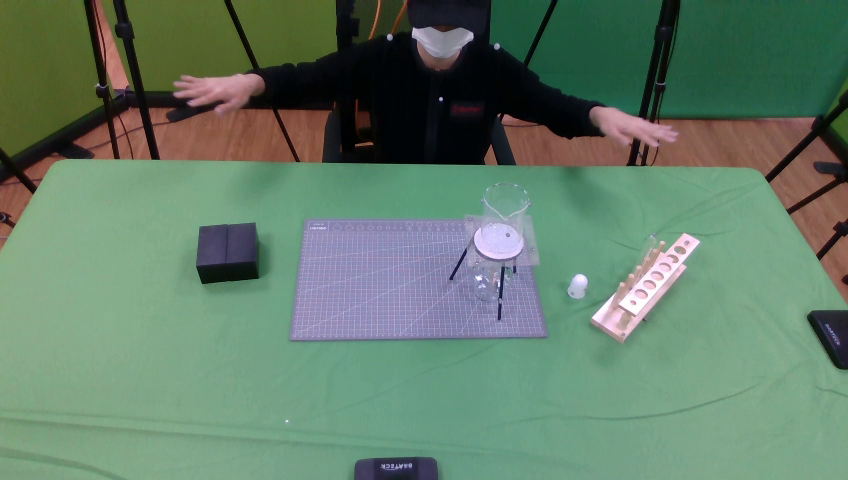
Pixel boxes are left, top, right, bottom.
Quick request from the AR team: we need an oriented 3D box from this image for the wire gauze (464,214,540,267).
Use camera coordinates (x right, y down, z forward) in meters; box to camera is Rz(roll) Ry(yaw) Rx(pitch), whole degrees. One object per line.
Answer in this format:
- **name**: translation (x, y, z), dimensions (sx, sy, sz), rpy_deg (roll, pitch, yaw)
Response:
- **wire gauze**: translation (0.131, -0.001, 1.034), dimensions (0.121, 0.011, 0.124), rpy_deg (1, 44, -2)

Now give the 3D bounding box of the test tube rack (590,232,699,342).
- **test tube rack**: translation (0.407, 0.074, 1.112), dimensions (0.066, 0.085, 0.242), rpy_deg (35, 53, 26)

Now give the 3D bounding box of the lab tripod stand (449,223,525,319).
- **lab tripod stand**: translation (0.120, 0.046, 1.080), dimensions (0.148, 0.132, 0.147), rpy_deg (1, 47, -1)

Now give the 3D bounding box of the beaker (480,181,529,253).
- **beaker**: translation (0.130, -0.033, 0.998), dimensions (0.074, 0.101, 0.083), rpy_deg (5, 47, 4)

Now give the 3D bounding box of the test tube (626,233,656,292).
- **test tube**: translation (0.384, 0.042, 1.079), dimensions (0.017, 0.151, 0.017), rpy_deg (1, 47, -1)

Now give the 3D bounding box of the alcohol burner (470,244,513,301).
- **alcohol burner**: translation (0.122, 0.054, 1.087), dimensions (0.078, 0.120, 0.077), rpy_deg (1, 45, -1)

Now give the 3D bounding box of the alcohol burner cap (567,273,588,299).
- **alcohol burner cap**: translation (0.287, 0.083, 1.125), dimensions (0.034, 0.048, 0.033), rpy_deg (2, 45, -1)
